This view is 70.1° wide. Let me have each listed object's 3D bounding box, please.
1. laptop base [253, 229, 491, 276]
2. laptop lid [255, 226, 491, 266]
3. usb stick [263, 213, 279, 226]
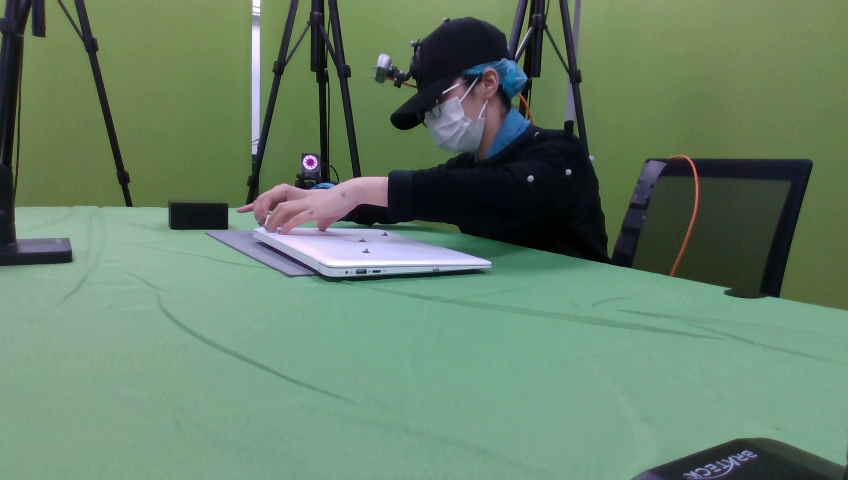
[{"bbox_3d":[-0.095,0.015,0.889,0.237,0.023,0.352,2,7,-30],"label":"laptop base"},{"bbox_3d":[-0.092,0.004,0.889,0.243,0.013,0.355,1,8,-28],"label":"laptop lid"},{"bbox_3d":[-0.266,-0.031,1.050,0.021,0.027,0.059,15,4,-17],"label":"usb stick"}]
